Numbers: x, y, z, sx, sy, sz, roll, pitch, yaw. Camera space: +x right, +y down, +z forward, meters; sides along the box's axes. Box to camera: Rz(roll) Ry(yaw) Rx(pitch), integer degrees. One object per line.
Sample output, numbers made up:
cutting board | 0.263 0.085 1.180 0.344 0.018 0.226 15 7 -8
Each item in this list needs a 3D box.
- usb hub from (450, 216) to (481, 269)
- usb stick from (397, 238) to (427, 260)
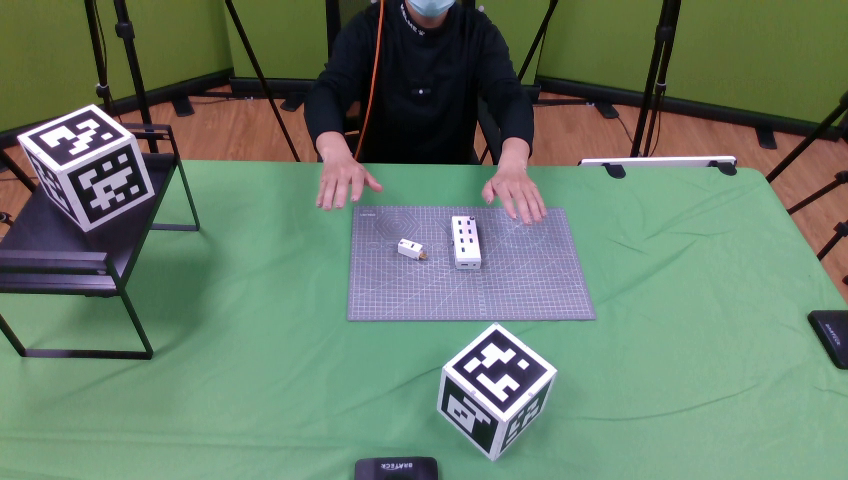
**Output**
usb hub | 0.082 0.004 1.194 0.049 0.025 0.124 1 46 -4
usb stick | -0.021 0.020 1.169 0.059 0.027 0.021 22 48 13
